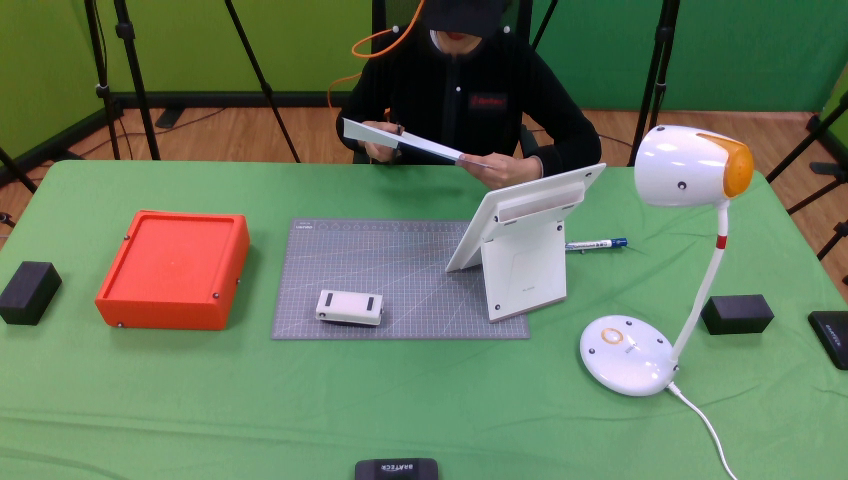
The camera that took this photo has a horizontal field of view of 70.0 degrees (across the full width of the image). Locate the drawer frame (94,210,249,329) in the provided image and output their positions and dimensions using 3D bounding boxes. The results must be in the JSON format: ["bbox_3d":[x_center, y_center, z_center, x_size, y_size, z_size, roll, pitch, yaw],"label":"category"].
[{"bbox_3d":[-0.434,0.048,1.076,0.202,0.083,0.212,2,47,-3],"label":"drawer frame"}]

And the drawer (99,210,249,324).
[{"bbox_3d":[-0.435,0.044,1.081,0.194,0.073,0.210,3,47,-2],"label":"drawer"}]

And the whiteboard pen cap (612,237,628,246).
[{"bbox_3d":[0.390,0.004,1.215,0.033,0.018,0.018,-7,47,-2],"label":"whiteboard pen cap"}]

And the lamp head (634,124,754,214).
[{"bbox_3d":[0.351,-0.089,0.776,0.112,0.113,0.122,-30,30,-28],"label":"lamp head"}]

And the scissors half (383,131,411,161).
[{"bbox_3d":[-0.056,-0.200,1.267,0.013,0.175,0.040,15,76,-18],"label":"scissors half"}]

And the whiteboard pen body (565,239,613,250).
[{"bbox_3d":[0.331,0.008,1.211,0.141,0.017,0.017,-5,47,-4],"label":"whiteboard pen body"}]

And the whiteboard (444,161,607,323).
[{"bbox_3d":[0.186,0.025,1.029,0.217,0.306,0.143,-14,68,-18],"label":"whiteboard"}]

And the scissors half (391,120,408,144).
[{"bbox_3d":[-0.048,-0.222,1.266,0.013,0.040,0.174,20,17,-18],"label":"scissors half"}]

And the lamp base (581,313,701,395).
[{"bbox_3d":[0.361,0.144,0.972,0.178,0.181,0.160,34,53,23],"label":"lamp base"}]

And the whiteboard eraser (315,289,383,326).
[{"bbox_3d":[-0.130,0.119,1.054,0.113,0.042,0.055,6,47,1],"label":"whiteboard eraser"}]
